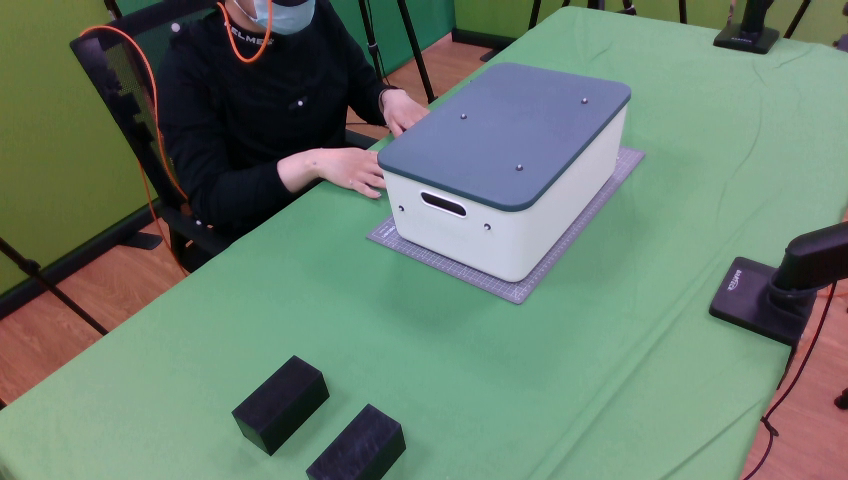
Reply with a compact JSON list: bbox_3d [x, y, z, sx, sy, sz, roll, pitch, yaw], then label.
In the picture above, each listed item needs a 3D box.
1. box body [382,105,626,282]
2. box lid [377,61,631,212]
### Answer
[{"bbox_3d":[0.137,-0.121,0.978,0.252,0.161,0.365,22,49,30],"label":"box body"},{"bbox_3d":[0.131,-0.178,0.931,0.261,0.015,0.372,22,49,30],"label":"box lid"}]
